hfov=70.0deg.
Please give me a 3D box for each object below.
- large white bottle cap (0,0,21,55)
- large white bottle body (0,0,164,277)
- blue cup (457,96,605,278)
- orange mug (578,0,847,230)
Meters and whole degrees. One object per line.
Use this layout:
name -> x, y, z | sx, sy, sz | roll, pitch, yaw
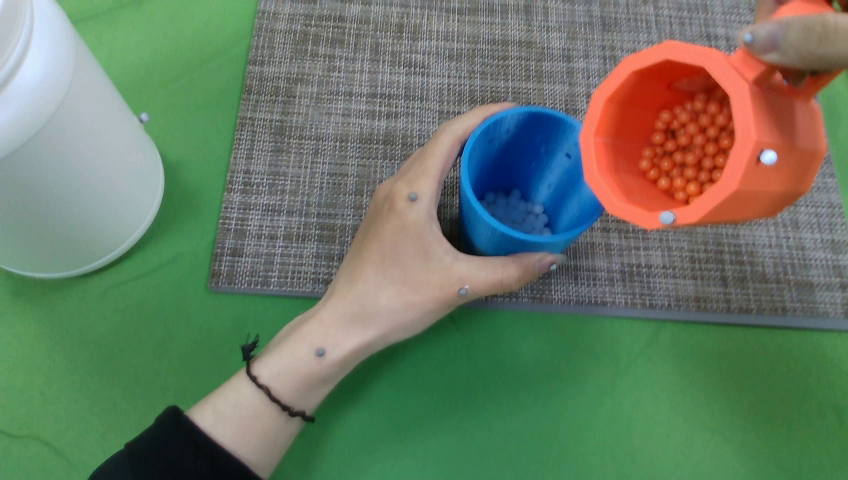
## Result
large white bottle cap -> -0.237, -0.100, 0.260 | 0.115, 0.018, 0.114 | 1, 68, -3
large white bottle body -> -0.241, -0.067, 0.337 | 0.131, 0.185, 0.129 | 1, 68, -3
blue cup -> 0.058, -0.020, 0.377 | 0.093, 0.101, 0.092 | 2, 68, -4
orange mug -> 0.151, -0.060, 0.299 | 0.101, 0.126, 0.082 | -7, 57, -38
